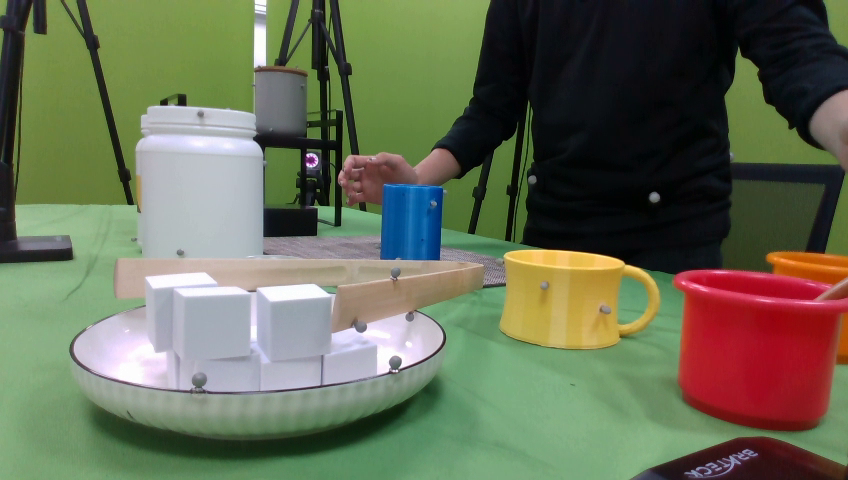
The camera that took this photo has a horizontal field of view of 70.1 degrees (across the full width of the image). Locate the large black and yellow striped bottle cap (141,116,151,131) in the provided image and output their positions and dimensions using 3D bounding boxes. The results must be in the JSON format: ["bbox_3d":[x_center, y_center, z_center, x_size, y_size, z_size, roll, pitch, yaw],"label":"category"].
[{"bbox_3d":[-0.328,-0.158,0.837,0.115,0.019,0.115,2,6,0],"label":"large black and yellow striped bottle cap"}]

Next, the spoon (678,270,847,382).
[{"bbox_3d":[0.229,0.031,0.338,0.193,0.021,0.042,-44,-17,27],"label":"spoon"}]

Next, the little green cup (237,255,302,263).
[{"bbox_3d":[-0.150,0.038,0.590,0.061,0.038,0.061,3,6,0],"label":"little green cup"}]

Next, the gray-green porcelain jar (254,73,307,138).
[{"bbox_3d":[-0.298,-0.277,1.259,0.106,0.126,0.106,3,8,0],"label":"gray-green porcelain jar"}]

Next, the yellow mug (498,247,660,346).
[{"bbox_3d":[0.130,0.045,0.508,0.131,0.064,0.100,4,7,6],"label":"yellow mug"}]

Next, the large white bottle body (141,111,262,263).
[{"bbox_3d":[-0.254,-0.053,0.697,0.131,0.184,0.130,2,7,0],"label":"large white bottle body"}]

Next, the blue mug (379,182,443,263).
[{"bbox_3d":[-0.020,-0.025,0.833,0.082,0.106,0.116,1,7,-6],"label":"blue mug"}]

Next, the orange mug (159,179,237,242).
[{"bbox_3d":[-0.368,-0.051,0.991,0.127,0.101,0.083,-10,14,-41],"label":"orange mug"}]

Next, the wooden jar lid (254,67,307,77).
[{"bbox_3d":[-0.296,-0.339,1.251,0.108,0.020,0.108,1,7,0],"label":"wooden jar lid"}]

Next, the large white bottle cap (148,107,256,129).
[{"bbox_3d":[-0.250,-0.137,0.686,0.115,0.018,0.115,3,8,0],"label":"large white bottle cap"}]

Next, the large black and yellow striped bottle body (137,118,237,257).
[{"bbox_3d":[-0.330,-0.075,0.849,0.131,0.184,0.130,2,8,0],"label":"large black and yellow striped bottle body"}]

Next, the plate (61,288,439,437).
[{"bbox_3d":[-0.095,0.069,0.362,0.208,0.039,0.207,3,7,0],"label":"plate"}]

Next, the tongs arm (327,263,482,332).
[{"bbox_3d":[-0.003,0.036,0.493,0.050,0.026,0.386,1,0,19],"label":"tongs arm"}]

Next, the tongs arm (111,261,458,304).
[{"bbox_3d":[-0.080,0.032,0.527,0.028,0.027,0.389,-3,-3,33],"label":"tongs arm"}]

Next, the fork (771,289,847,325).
[{"bbox_3d":[0.336,0.018,0.443,0.028,0.018,0.207,-3,-35,-21],"label":"fork"}]
